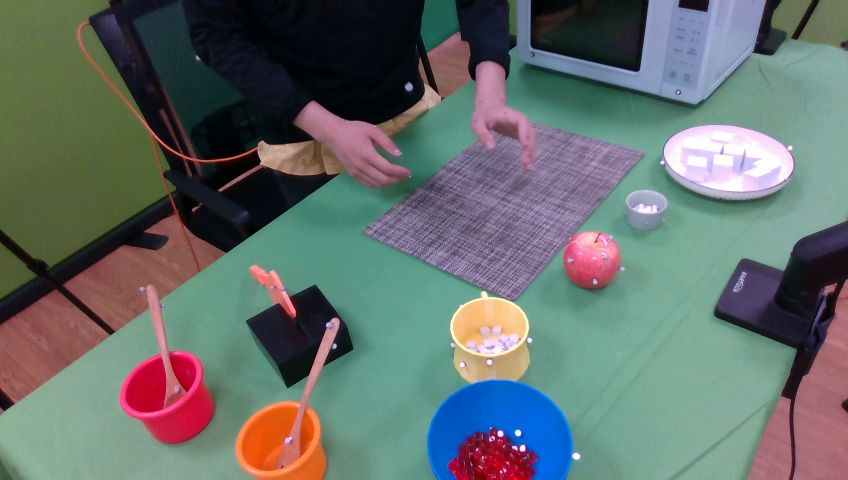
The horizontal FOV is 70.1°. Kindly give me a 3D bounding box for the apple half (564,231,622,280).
[{"bbox_3d":[0.248,0.021,0.874,0.080,0.075,0.053,13,40,29],"label":"apple half"}]

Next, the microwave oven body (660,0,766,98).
[{"bbox_3d":[0.472,-0.513,1.317,0.438,0.261,0.327,26,51,34],"label":"microwave oven body"}]

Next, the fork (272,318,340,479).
[{"bbox_3d":[-0.131,0.186,0.676,0.028,0.019,0.207,18,90,28],"label":"fork"}]

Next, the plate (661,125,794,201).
[{"bbox_3d":[0.513,-0.128,1.035,0.207,0.039,0.206,-4,40,4],"label":"plate"}]

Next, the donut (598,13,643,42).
[{"bbox_3d":[0.438,-0.474,1.346,0.099,0.048,0.098,-17,23,8],"label":"donut"}]

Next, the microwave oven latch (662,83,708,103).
[{"bbox_3d":[0.518,-0.296,1.204,0.078,0.029,0.030,27,52,35],"label":"microwave oven latch"}]

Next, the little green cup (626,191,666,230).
[{"bbox_3d":[0.352,-0.046,0.963,0.061,0.039,0.061,-4,40,4],"label":"little green cup"}]

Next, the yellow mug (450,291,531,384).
[{"bbox_3d":[0.085,0.120,0.786,0.100,0.064,0.130,-7,39,1],"label":"yellow mug"}]

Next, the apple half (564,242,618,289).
[{"bbox_3d":[0.229,0.044,0.848,0.081,0.081,0.033,16,41,26],"label":"apple half"}]

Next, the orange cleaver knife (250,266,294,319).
[{"bbox_3d":[-0.221,0.073,0.876,0.012,0.077,0.210,-24,12,-22],"label":"orange cleaver knife"}]

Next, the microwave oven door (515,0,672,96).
[{"bbox_3d":[0.343,-0.455,1.259,0.353,0.245,0.039,26,51,33],"label":"microwave oven door"}]

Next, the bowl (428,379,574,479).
[{"bbox_3d":[0.082,0.233,0.644,0.151,0.077,0.150,-4,40,4],"label":"bowl"}]

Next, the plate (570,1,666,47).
[{"bbox_3d":[0.437,-0.485,1.370,0.209,0.038,0.208,-4,41,4],"label":"plate"}]

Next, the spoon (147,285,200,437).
[{"bbox_3d":[-0.318,0.148,0.754,0.042,0.021,0.193,-15,85,-10],"label":"spoon"}]
